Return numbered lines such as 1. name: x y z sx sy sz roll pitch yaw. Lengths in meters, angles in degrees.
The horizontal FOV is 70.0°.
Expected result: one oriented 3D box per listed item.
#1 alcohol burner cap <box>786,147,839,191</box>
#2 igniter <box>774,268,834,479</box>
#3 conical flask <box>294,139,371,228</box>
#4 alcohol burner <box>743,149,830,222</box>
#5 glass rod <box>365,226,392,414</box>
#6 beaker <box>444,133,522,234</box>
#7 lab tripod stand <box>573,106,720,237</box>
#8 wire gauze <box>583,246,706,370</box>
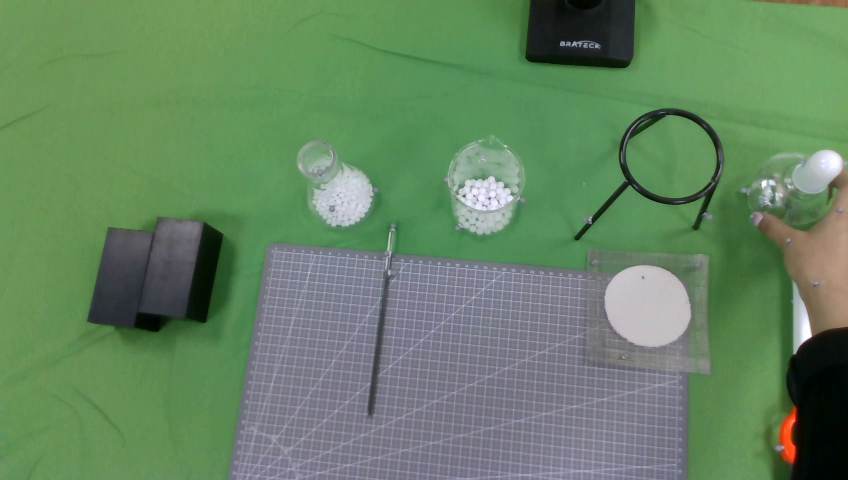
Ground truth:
1. alcohol burner cap: 0.363 -0.069 0.562 0.034 0.048 0.033 -2 73 7
2. igniter: 0.370 0.164 0.589 0.057 0.025 0.275 9 78 -5
3. conical flask: -0.099 -0.062 0.618 0.075 0.122 0.075 -1 76 3
4. alcohol burner: 0.366 -0.059 0.597 0.078 0.119 0.077 -1 77 5
5. glass rod: -0.048 0.081 0.637 0.008 0.008 0.199 5 77 4
6. beaker: 0.059 -0.053 0.620 0.074 0.101 0.083 7 76 5
7. lab tripod stand: 0.217 -0.059 0.595 0.148 0.132 0.147 -1 78 3
8. wire gauze: 0.228 0.068 0.626 0.125 0.011 0.121 4 77 4
